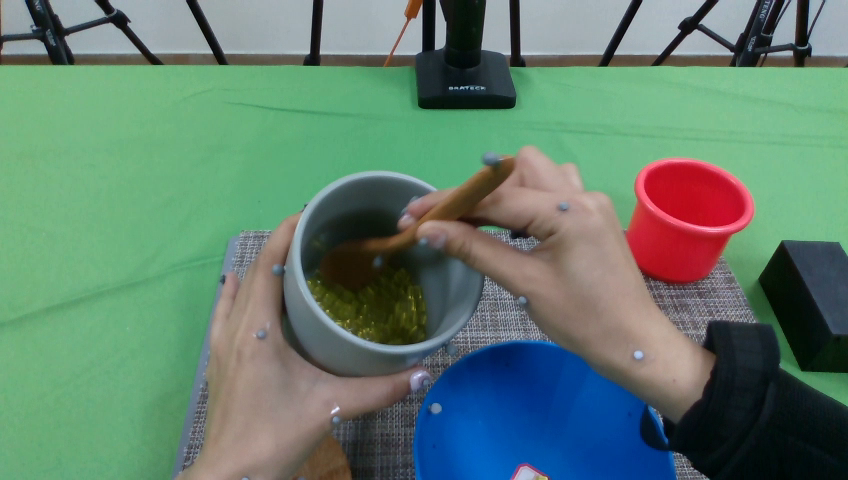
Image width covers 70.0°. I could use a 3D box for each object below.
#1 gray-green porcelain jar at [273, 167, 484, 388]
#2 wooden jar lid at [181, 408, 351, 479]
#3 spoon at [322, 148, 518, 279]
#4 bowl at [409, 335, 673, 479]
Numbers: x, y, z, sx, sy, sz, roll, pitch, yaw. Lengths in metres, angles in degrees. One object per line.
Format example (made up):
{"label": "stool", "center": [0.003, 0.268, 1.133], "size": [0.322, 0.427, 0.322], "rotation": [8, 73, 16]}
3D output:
{"label": "gray-green porcelain jar", "center": [-0.036, 0.031, 0.373], "size": [0.106, 0.127, 0.105], "rotation": [8, 65, -17]}
{"label": "wooden jar lid", "center": [-0.101, 0.161, 0.389], "size": [0.108, 0.021, 0.107], "rotation": [1, 45, -1]}
{"label": "spoon", "center": [-0.008, -0.007, 0.336], "size": [0.042, 0.193, 0.021], "rotation": [19, 67, -26]}
{"label": "bowl", "center": [0.066, 0.142, 0.375], "size": [0.151, 0.077, 0.150], "rotation": [2, 46, -1]}
